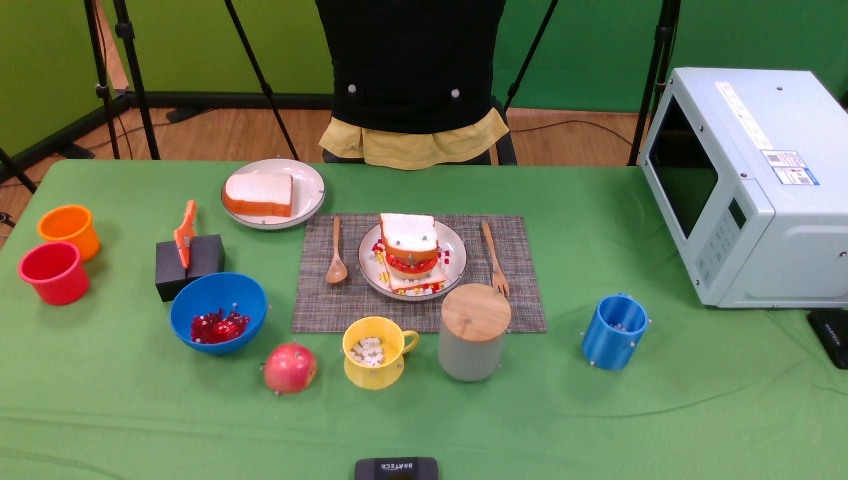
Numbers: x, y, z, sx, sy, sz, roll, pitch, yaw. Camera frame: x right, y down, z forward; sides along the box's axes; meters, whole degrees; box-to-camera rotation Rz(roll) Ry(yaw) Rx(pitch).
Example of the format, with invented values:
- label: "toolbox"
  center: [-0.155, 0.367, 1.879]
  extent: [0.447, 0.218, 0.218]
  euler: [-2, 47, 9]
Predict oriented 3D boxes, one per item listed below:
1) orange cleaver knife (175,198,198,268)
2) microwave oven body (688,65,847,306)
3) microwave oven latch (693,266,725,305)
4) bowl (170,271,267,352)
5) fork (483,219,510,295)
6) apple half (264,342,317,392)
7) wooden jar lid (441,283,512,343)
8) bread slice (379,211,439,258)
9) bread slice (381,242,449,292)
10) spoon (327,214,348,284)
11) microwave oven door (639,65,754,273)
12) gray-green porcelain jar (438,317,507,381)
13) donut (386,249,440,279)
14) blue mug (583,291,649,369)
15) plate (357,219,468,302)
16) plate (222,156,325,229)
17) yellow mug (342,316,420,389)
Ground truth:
- label: "orange cleaver knife"
  center: [-0.438, -0.017, 1.138]
  extent: [0.012, 0.077, 0.210]
  euler: [-13, 27, -7]
- label: "microwave oven body"
  center: [0.669, -0.111, 1.176]
  extent: [0.326, 0.261, 0.439]
  euler: [0, 46, -3]
- label: "microwave oven latch"
  center: [0.523, 0.082, 1.115]
  extent: [0.030, 0.029, 0.078]
  euler: [3, 46, 0]
- label: "bowl"
  center: [-0.333, 0.132, 1.006]
  extent: [0.151, 0.077, 0.150]
  euler: [2, 46, -2]
- label: "fork"
  center: [0.136, 0.029, 1.173]
  extent: [0.028, 0.019, 0.206]
  euler: [-10, 48, 2]
- label: "apple half"
  center: [-0.214, 0.198, 0.970]
  extent: [0.074, 0.053, 0.080]
  euler: [19, 47, 11]
- label: "wooden jar lid"
  center: [0.080, 0.114, 0.931]
  extent: [0.108, 0.021, 0.107]
  euler: [1, 49, -1]
- label: "bread slice"
  center: [-0.024, -0.012, 1.064]
  extent: [0.105, 0.019, 0.130]
  euler: [3, 33, -10]
- label: "bread slice"
  center: [-0.026, 0.039, 1.139]
  extent: [0.107, 0.018, 0.133]
  euler: [-12, 47, -16]
- label: "spoon"
  center: [-0.167, 0.013, 1.164]
  extent: [0.041, 0.022, 0.192]
  euler: [-19, 47, 11]
- label: "microwave oven door"
  center: [0.522, -0.147, 1.193]
  extent: [0.039, 0.245, 0.353]
  euler: [0, 47, -3]
- label: "gray-green porcelain jar"
  center: [0.076, 0.158, 0.977]
  extent: [0.106, 0.127, 0.105]
  euler: [2, 46, -2]
- label: "donut"
  center: [-0.021, 0.029, 1.110]
  extent: [0.099, 0.048, 0.098]
  euler: [2, 46, -2]
- label: "blue mug"
  center: [0.324, 0.142, 1.023]
  extent: [0.082, 0.106, 0.116]
  euler: [15, 47, 11]
- label: "plate"
  center: [-0.021, 0.037, 1.141]
  extent: [0.208, 0.039, 0.206]
  euler: [2, 46, -2]
- label: "plate"
  center: [-0.308, -0.095, 1.251]
  extent: [0.209, 0.038, 0.208]
  euler: [2, 47, -2]
- label: "yellow mug"
  center: [-0.067, 0.177, 0.990]
  extent: [0.131, 0.064, 0.099]
  euler: [-16, 50, -19]
